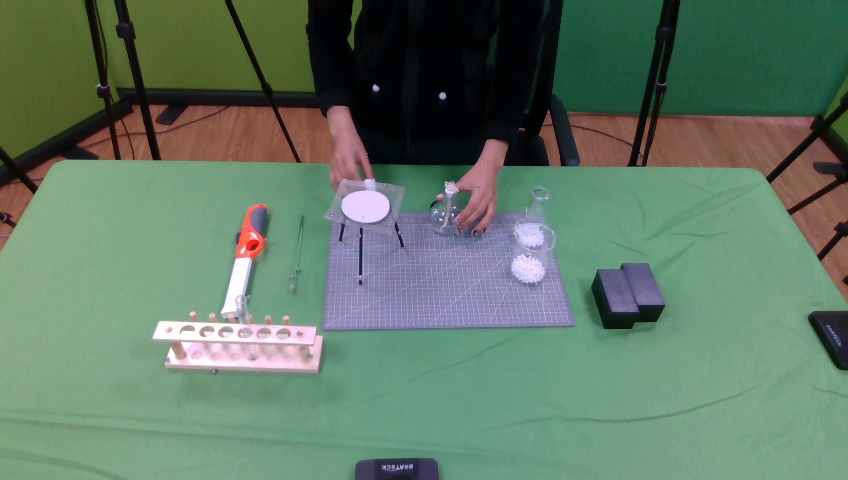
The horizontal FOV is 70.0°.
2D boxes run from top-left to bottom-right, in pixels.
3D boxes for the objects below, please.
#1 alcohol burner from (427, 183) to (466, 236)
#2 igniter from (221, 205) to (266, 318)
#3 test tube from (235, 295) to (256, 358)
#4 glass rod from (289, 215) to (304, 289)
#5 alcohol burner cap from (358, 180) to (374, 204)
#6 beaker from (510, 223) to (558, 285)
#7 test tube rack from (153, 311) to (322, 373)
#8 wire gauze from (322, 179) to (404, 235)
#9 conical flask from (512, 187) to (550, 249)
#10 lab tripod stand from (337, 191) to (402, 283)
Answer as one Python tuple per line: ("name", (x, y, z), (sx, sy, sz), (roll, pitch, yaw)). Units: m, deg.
("alcohol burner", (0.047, -0.066, 1.201), (0.078, 0.119, 0.077), (4, 45, -3))
("igniter", (-0.337, 0.031, 1.140), (0.057, 0.025, 0.274), (-6, 46, 4))
("test tube", (-0.274, 0.136, 0.933), (0.017, 0.151, 0.017), (4, 45, -4))
("glass rod", (-0.246, 0.019, 1.171), (0.008, 0.008, 0.198), (0, 44, -3))
("alcohol burner cap", (-0.116, -0.098, 1.204), (0.034, 0.048, 0.033), (3, 46, -3))
("beaker", (0.199, 0.028, 1.132), (0.083, 0.101, 0.074), (26, 50, 21))
("test tube rack", (-0.293, 0.160, 0.978), (0.242, 0.085, 0.066), (3, 46, -2))
("wire gauze", (-0.106, -0.064, 1.078), (0.125, 0.011, 0.121), (11, 45, 5))
("conical flask", (0.217, -0.048, 1.190), (0.075, 0.122, 0.075), (2, 46, -2))
("lab tripod stand", (-0.106, -0.016, 1.125), (0.148, 0.132, 0.147), (3, 44, -2))
